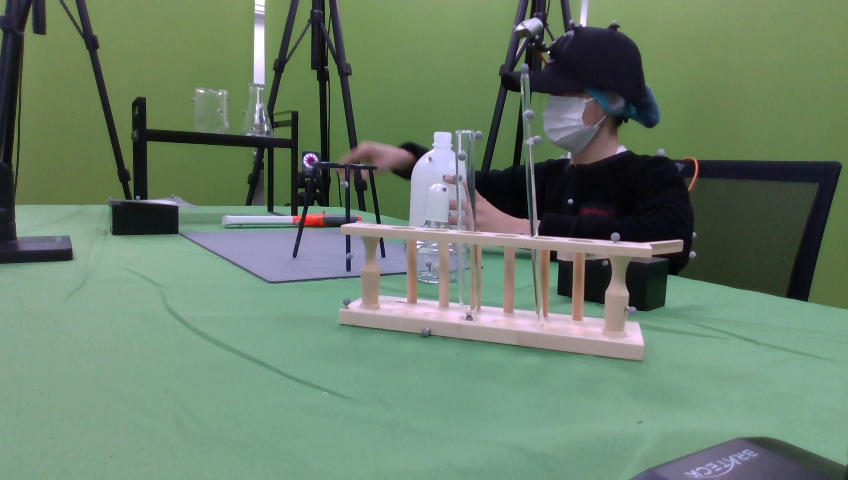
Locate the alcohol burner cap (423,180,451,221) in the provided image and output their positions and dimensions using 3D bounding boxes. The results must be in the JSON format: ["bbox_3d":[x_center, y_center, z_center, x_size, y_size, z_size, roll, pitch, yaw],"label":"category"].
[{"bbox_3d":[0.017,-0.047,0.711,0.034,0.048,0.034,8,5,0],"label":"alcohol burner cap"}]

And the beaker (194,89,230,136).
[{"bbox_3d":[-0.472,-0.283,1.352,0.074,0.100,0.083,-4,10,-35],"label":"beaker"}]

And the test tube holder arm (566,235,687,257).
[{"bbox_3d":[0.215,0.006,0.630,0.179,0.015,0.013,-3,9,-30],"label":"test tube holder arm"}]

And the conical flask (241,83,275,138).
[{"bbox_3d":[-0.383,-0.297,1.392,0.075,0.122,0.075,2,7,0],"label":"conical flask"}]

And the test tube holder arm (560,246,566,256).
[{"bbox_3d":[0.173,0.007,0.611,0.088,0.015,0.010,-3,9,-30],"label":"test tube holder arm"}]

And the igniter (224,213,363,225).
[{"bbox_3d":[-0.255,-0.041,1.210,0.278,0.025,0.057,-2,-2,-31],"label":"igniter"}]

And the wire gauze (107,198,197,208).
[{"bbox_3d":[-0.462,-0.064,1.023,0.126,0.011,0.121,-2,7,-32],"label":"wire gauze"}]

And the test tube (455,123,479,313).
[{"bbox_3d":[0.034,-0.016,0.476,0.017,0.150,0.017,-2,10,1],"label":"test tube"}]

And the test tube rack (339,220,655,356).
[{"bbox_3d":[0.056,0.032,0.495,0.242,0.085,0.067,4,7,15],"label":"test tube rack"}]

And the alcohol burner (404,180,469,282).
[{"bbox_3d":[0.015,-0.011,0.715,0.078,0.119,0.078,0,7,0],"label":"alcohol burner"}]

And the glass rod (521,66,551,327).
[{"bbox_3d":[0.085,-0.028,0.454,0.008,0.199,0.008,-7,10,1],"label":"glass rod"}]

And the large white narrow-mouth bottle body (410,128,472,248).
[{"bbox_3d":[0.030,-0.088,1.005,0.102,0.194,0.102,2,8,0],"label":"large white narrow-mouth bottle body"}]

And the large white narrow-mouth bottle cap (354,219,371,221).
[{"bbox_3d":[-0.120,-0.029,1.184,0.038,0.024,0.037,2,8,0],"label":"large white narrow-mouth bottle cap"}]

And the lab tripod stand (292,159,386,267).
[{"bbox_3d":[-0.105,-0.039,0.798,0.148,0.131,0.148,2,5,0],"label":"lab tripod stand"}]
